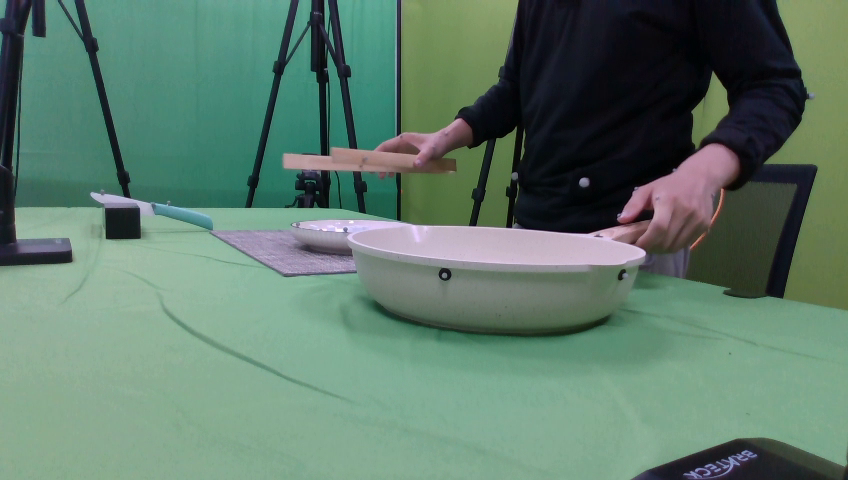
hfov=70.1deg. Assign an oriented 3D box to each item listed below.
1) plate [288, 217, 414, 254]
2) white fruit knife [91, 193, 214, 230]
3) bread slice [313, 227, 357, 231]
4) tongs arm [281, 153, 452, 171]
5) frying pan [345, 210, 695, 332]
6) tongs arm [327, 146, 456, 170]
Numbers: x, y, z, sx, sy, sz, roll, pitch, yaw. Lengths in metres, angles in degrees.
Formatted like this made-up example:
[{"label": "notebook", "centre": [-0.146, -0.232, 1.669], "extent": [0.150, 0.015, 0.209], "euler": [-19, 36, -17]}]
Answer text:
[{"label": "plate", "centre": [-0.109, -0.007, 0.956], "extent": [0.208, 0.039, 0.207], "euler": [2, 7, 0]}, {"label": "white fruit knife", "centre": [-0.478, -0.055, 1.077], "extent": [0.208, 0.027, 0.016], "euler": [14, -1, -30]}, {"label": "bread slice", "centre": [-0.115, -0.006, 0.949], "extent": [0.134, 0.018, 0.107], "euler": [2, 6, -7]}, {"label": "tongs arm", "centre": [-0.090, -0.146, 1.133], "extent": [0.050, 0.026, 0.387], "euler": [-2, 2, 43]}, {"label": "frying pan", "centre": [0.153, 0.009, 0.668], "extent": [0.490, 0.102, 0.305], "euler": [-12, 15, -32]}, {"label": "tongs arm", "centre": [-0.040, -0.146, 1.091], "extent": [0.028, 0.027, 0.389], "euler": [-7, 0, 35]}]
